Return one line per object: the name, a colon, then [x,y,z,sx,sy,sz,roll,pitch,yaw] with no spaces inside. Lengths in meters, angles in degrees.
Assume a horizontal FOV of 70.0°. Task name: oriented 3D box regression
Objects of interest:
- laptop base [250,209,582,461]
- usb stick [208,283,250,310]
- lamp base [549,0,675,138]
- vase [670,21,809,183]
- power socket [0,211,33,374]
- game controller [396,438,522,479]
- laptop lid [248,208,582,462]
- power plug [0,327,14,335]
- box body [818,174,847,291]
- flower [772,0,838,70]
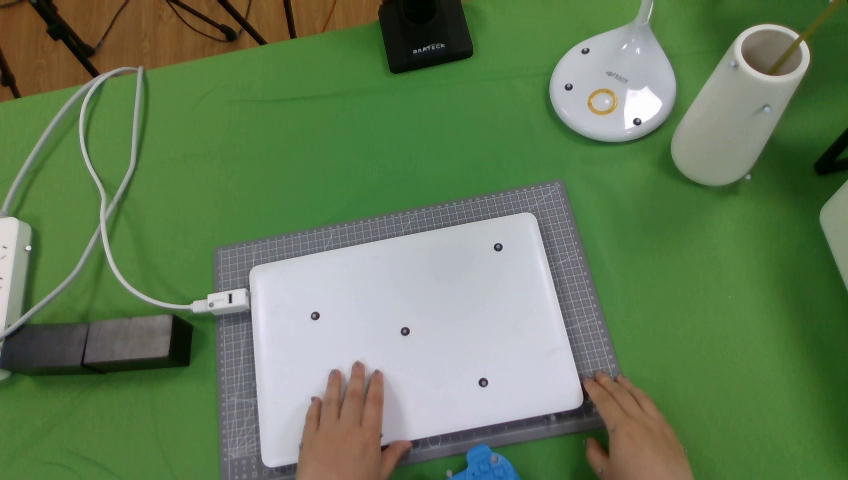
laptop base: [-0.020,0.102,0.697,0.354,0.023,0.234,-11,71,1]
usb stick: [-0.223,0.066,0.717,0.059,0.027,0.021,-7,67,-3]
lamp base: [0.241,-0.244,0.723,0.160,0.181,0.178,21,69,13]
vase: [0.338,-0.145,0.664,0.098,0.201,0.097,-3,66,7]
power socket: [-0.540,0.065,0.755,0.072,0.033,0.225,-8,67,2]
game controller: [0.029,0.269,0.612,0.155,0.052,0.096,-25,64,-5]
laptop lid: [-0.021,0.100,0.686,0.357,0.013,0.240,-10,70,2]
power plug: [-0.504,0.122,0.707,0.072,0.053,0.035,3,68,5]
box body: [0.585,0.066,0.575,0.254,0.161,0.361,-10,68,2]
flower: [0.350,-0.179,0.588,0.038,0.364,0.043,4,58,-10]
